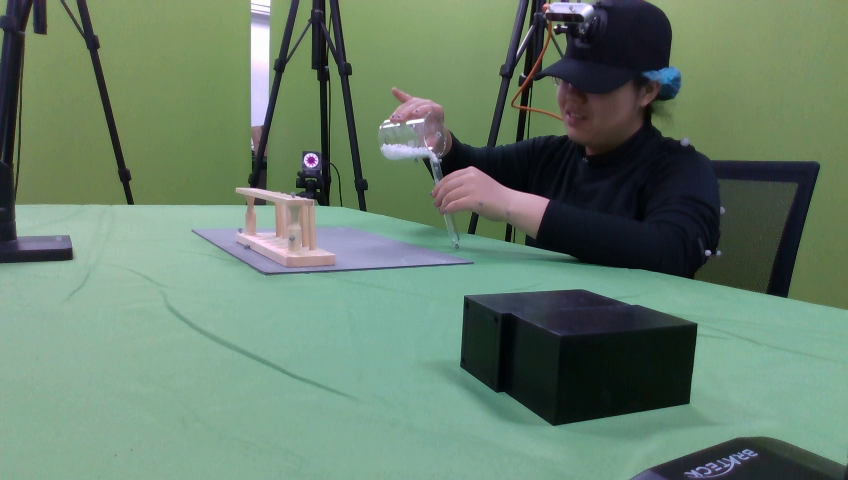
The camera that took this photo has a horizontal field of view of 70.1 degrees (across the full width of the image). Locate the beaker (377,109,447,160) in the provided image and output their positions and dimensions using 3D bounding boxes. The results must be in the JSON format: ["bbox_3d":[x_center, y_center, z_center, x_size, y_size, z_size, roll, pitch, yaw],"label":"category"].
[{"bbox_3d":[-0.022,-0.173,1.025,0.100,0.084,0.074,-2,0,33],"label":"beaker"}]

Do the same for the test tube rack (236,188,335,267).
[{"bbox_3d":[-0.202,-0.024,0.855,0.067,0.085,0.241,-2,8,-31],"label":"test tube rack"}]

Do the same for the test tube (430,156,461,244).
[{"bbox_3d":[0.036,-0.065,0.993,0.017,0.150,0.017,-14,-6,-1],"label":"test tube"}]
